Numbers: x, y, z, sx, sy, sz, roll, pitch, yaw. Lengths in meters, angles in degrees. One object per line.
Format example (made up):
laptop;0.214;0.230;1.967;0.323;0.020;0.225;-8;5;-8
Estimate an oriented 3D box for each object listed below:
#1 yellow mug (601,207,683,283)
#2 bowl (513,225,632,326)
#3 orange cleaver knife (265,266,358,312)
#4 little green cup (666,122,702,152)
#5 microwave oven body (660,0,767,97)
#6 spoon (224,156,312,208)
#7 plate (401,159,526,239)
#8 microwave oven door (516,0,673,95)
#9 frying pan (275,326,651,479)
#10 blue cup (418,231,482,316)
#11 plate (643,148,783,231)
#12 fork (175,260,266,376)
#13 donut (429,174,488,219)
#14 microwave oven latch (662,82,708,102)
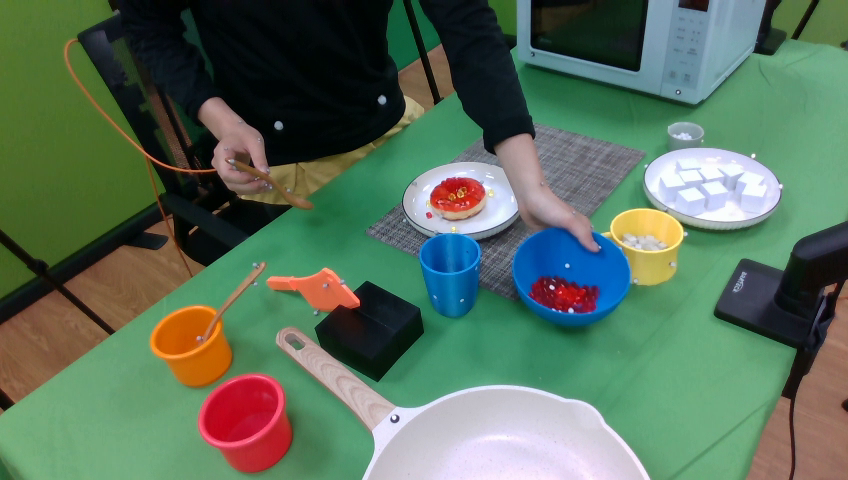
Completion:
yellow mug;0.305;0.008;0.884;0.131;0.064;0.099;-4;41;5
bowl;0.192;0.061;0.802;0.151;0.077;0.150;-3;47;3
orange cleaver knife;-0.164;0.073;0.864;0.210;0.077;0.012;-6;30;50
little green cup;0.472;-0.183;1.102;0.061;0.039;0.061;-5;41;5
microwave oven body;0.474;-0.517;1.313;0.438;0.261;0.327;26;51;34
spoon;-0.229;-0.086;0.900;0.041;0.195;0.021;34;87;30
plate;0.067;-0.065;1.019;0.209;0.038;0.208;-4;40;4
microwave oven door;0.344;-0.458;1.256;0.353;0.245;0.039;26;51;33
frying pan;0.004;0.229;0.641;0.484;0.103;0.308;34;54;28
blue cup;0.039;0.053;0.843;0.092;0.100;0.092;-4;43;4
plate;0.464;-0.080;0.985;0.207;0.039;0.206;-4;41;4
fork;-0.268;0.103;0.792;0.207;0.019;0.028;-51;41;16
donut;0.058;-0.075;1.015;0.099;0.048;0.098;-6;38;5
microwave oven latch;0.518;-0.298;1.203;0.078;0.029;0.030;28;53;35
